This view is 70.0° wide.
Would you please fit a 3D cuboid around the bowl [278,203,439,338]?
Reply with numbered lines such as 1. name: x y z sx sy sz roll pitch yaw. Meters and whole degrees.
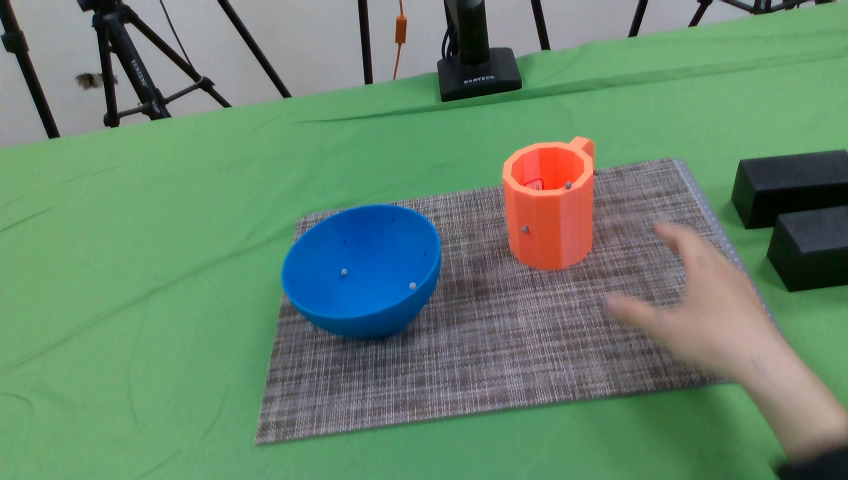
1. bowl: -0.054 0.041 0.580 0.151 0.077 0.150 -7 42 7

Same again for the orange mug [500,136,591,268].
1. orange mug: 0.133 -0.047 0.614 0.083 0.102 0.126 23 57 33
